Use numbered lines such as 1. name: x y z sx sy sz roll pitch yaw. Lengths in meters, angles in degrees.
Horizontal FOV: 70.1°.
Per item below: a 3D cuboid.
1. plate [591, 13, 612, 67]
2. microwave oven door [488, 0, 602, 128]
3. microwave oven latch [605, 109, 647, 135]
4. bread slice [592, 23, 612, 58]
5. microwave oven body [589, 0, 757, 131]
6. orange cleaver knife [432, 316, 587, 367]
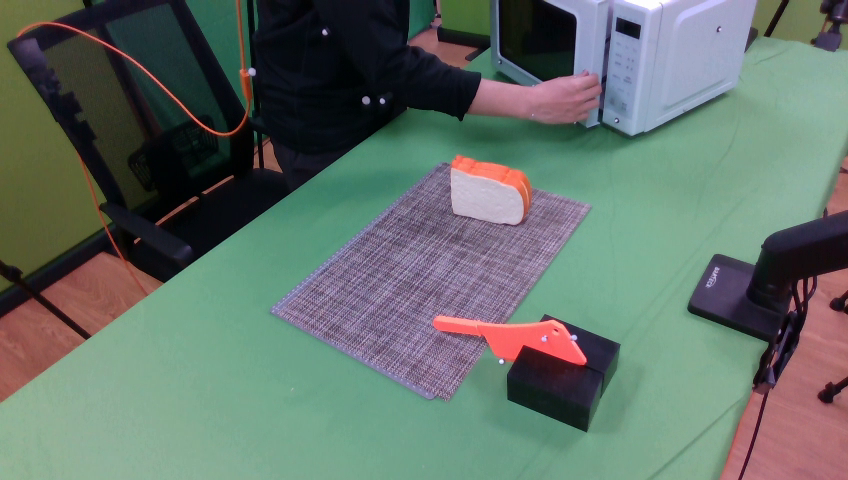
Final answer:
1. plate: 0.381 -0.426 1.303 0.207 0.039 0.206 -5 43 5
2. microwave oven door: 0.235 -0.405 1.213 0.039 0.245 0.352 -23 43 -17
3. microwave oven latch: 0.379 -0.225 1.139 0.030 0.029 0.078 -26 43 -19
4. bread slice: 0.363 -0.431 1.318 0.107 0.018 0.134 1 49 10
5. microwave oven body: 0.396 -0.448 1.248 0.327 0.261 0.437 -27 44 -21
6. orange cleaver knife: 0.101 0.127 0.761 0.210 0.077 0.012 -1 34 40
